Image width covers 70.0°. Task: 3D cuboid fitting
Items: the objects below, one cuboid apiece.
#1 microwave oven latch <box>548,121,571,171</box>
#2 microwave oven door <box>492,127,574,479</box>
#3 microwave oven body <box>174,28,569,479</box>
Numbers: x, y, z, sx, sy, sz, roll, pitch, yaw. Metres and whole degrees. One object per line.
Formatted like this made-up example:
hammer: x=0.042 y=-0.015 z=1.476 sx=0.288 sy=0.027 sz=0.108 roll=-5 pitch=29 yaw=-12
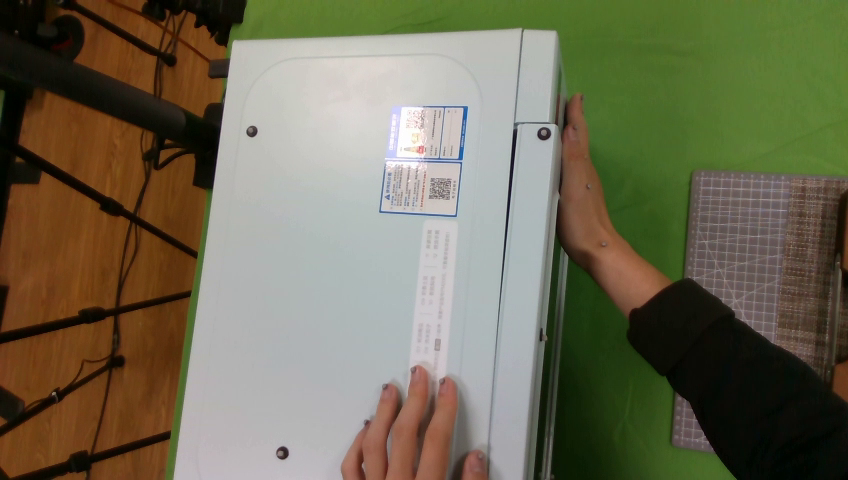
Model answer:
microwave oven latch: x=0.151 y=-0.099 z=0.685 sx=0.030 sy=0.029 sz=0.079 roll=3 pitch=83 yaw=16
microwave oven door: x=0.102 y=0.102 z=0.564 sx=0.039 sy=0.245 sz=0.355 roll=4 pitch=83 yaw=18
microwave oven body: x=-0.036 y=0.053 z=0.616 sx=0.325 sy=0.261 sz=0.440 roll=3 pitch=83 yaw=16
